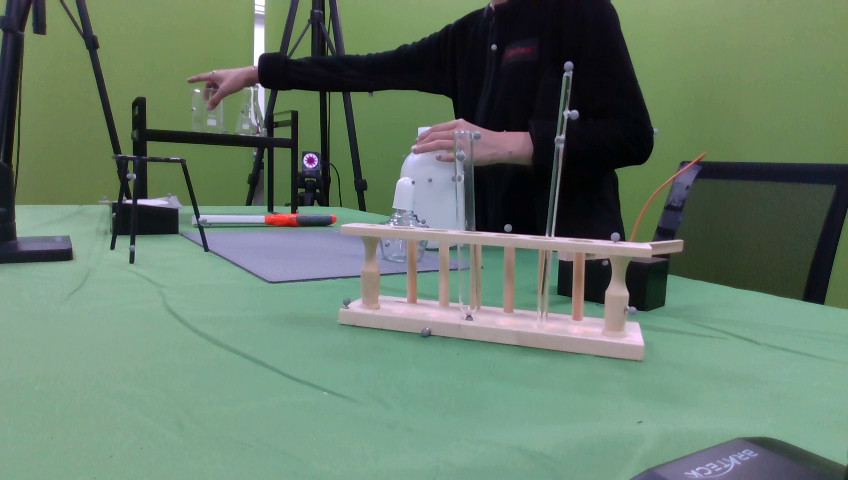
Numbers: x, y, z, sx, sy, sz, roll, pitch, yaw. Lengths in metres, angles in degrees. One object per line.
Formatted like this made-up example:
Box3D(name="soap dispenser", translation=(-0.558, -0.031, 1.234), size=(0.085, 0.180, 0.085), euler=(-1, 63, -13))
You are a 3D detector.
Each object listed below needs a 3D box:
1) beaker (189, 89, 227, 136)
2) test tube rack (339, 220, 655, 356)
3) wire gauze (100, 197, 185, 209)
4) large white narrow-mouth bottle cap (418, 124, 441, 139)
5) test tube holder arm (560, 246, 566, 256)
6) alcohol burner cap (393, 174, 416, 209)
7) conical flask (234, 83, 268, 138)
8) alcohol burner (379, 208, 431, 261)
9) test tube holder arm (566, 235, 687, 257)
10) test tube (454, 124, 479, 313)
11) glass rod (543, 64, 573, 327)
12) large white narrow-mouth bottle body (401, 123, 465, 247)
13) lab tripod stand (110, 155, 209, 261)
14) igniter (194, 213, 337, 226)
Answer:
Box3D(name="beaker", translation=(-0.483, -0.284, 1.350), size=(0.073, 0.100, 0.084), euler=(9, 10, 43))
Box3D(name="test tube rack", translation=(0.056, 0.032, 0.495), size=(0.242, 0.085, 0.067), euler=(4, 7, 15))
Box3D(name="wire gauze", translation=(-0.469, -0.062, 1.008), size=(0.126, 0.011, 0.121), euler=(-2, 8, -25))
Box3D(name="large white narrow-mouth bottle cap", translation=(0.008, -0.174, 0.975), size=(0.038, 0.024, 0.037), euler=(-2, 9, 1))
Box3D(name="test tube holder arm", translation=(0.173, 0.007, 0.612), size=(0.088, 0.015, 0.010), euler=(-3, 9, -29))
Box3D(name="alcohol burner cap", translation=(-0.025, -0.067, 0.834), size=(0.034, 0.048, 0.034), euler=(8, 7, -1))
Box3D(name="conical flask", translation=(-0.402, -0.300, 1.405), size=(0.075, 0.122, 0.075), euler=(2, 6, 0))
Box3D(name="alcohol burner", translation=(-0.027, -0.031, 0.838), size=(0.078, 0.119, 0.078), euler=(0, 6, 0))
Box3D(name="test tube holder arm", translation=(0.215, 0.006, 0.630), size=(0.179, 0.015, 0.013), euler=(-3, 9, -31))
Box3D(name="test tube", translation=(0.034, -0.015, 0.476), size=(0.017, 0.150, 0.017), euler=(-2, 9, 1))
Box3D(name="glass rod", translation=(0.101, -0.028, 0.453), size=(0.008, 0.199, 0.008), euler=(2, 14, 0))
Box3D(name="large white narrow-mouth bottle body", translation=(0.013, -0.091, 0.987), size=(0.102, 0.194, 0.101), euler=(-2, 9, 1))
Box3D(name="lab tripod stand", translation=(-0.361, -0.046, 0.806), size=(0.148, 0.131, 0.148), euler=(2, 5, 0))
Box3D(name="igniter", translation=(-0.306, -0.041, 1.197), size=(0.278, 0.025, 0.057), euler=(-2, -2, -30))
